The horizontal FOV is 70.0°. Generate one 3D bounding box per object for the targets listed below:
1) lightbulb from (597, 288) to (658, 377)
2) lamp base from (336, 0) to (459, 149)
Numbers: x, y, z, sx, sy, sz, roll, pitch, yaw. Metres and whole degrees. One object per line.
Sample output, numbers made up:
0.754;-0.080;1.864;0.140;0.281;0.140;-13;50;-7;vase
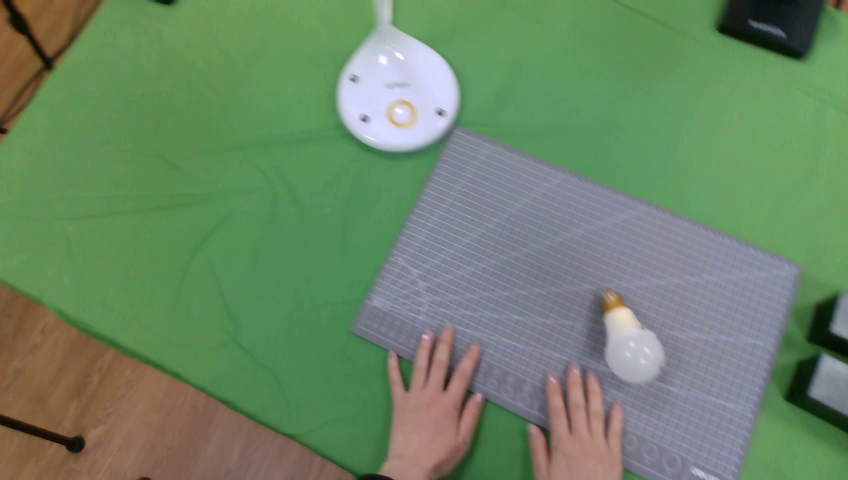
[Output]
0.219;0.100;0.673;0.059;0.060;0.106;-12;56;-1;lightbulb
-0.043;-0.228;0.725;0.161;0.181;0.178;-16;69;-3;lamp base
